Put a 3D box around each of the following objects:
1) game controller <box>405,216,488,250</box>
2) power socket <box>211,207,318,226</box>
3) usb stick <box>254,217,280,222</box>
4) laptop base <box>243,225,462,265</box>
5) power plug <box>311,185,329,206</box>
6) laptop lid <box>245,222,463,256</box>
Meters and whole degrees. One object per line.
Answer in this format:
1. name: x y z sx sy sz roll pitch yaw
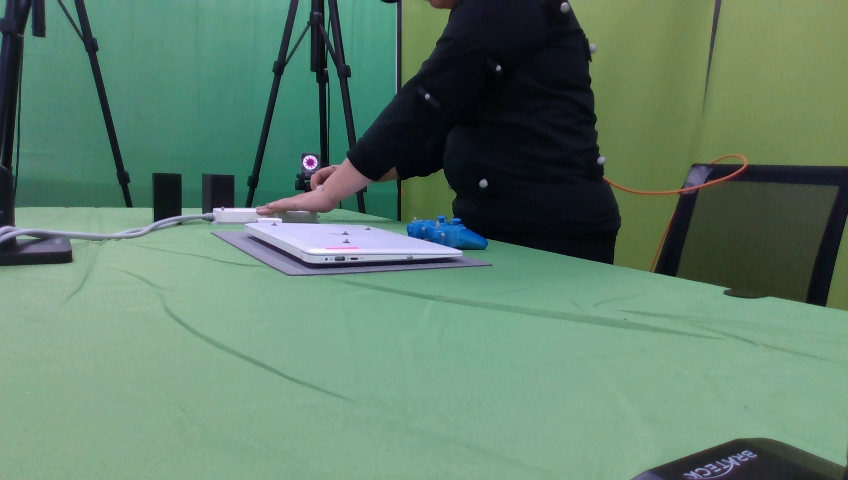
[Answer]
1. game controller: 0.035 -0.013 1.067 0.097 0.051 0.154 -6 10 -29
2. power socket: -0.335 -0.051 1.282 0.228 0.032 0.072 -2 10 -29
3. usb stick: -0.296 -0.028 1.114 0.059 0.027 0.021 -4 12 -30
4. laptop base: -0.128 0.007 0.952 0.237 0.023 0.352 2 6 -30
5. power plug: -0.230 -0.100 1.394 0.035 0.052 0.073 -2 -7 25
6. laptop lid: -0.126 -0.005 0.951 0.243 0.013 0.355 1 7 -28
